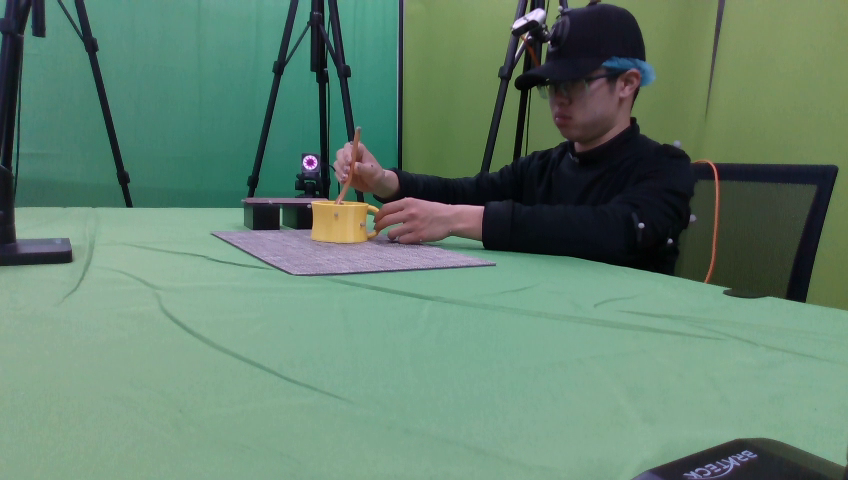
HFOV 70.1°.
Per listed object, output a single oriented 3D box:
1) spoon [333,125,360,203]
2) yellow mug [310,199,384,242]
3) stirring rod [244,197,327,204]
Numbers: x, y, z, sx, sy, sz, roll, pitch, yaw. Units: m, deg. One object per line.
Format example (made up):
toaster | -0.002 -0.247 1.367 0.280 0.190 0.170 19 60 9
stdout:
spoon | -0.137 -0.105 1.051 0.022 0.193 0.041 17 1 -11
yellow mug | -0.132 -0.035 1.055 0.131 0.064 0.099 0 8 -23
stirring rod | -0.270 -0.078 1.200 0.177 0.006 0.014 -2 44 -37
